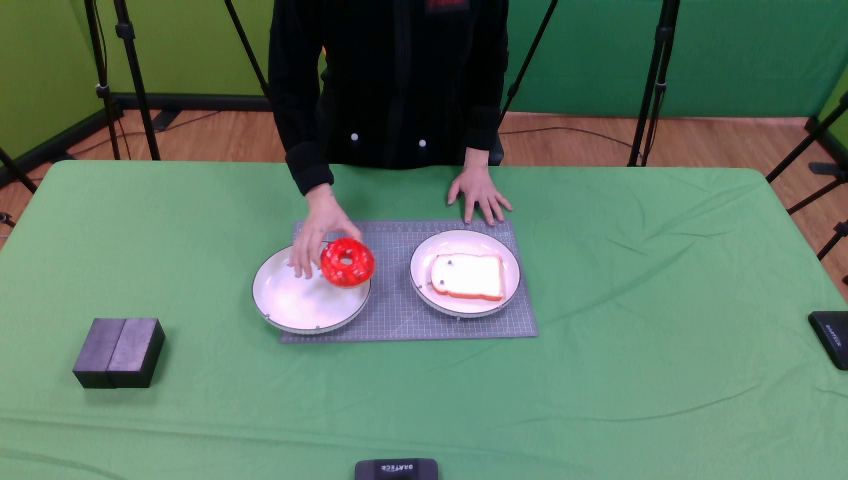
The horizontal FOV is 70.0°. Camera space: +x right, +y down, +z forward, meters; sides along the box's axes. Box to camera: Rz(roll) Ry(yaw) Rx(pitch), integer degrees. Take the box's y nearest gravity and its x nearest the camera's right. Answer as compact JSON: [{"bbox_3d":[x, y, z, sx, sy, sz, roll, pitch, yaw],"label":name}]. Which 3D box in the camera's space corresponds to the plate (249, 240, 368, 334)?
[{"bbox_3d":[-0.204,0.087,1.084,0.208,0.039,0.206,2,46,-2],"label":"plate"}]

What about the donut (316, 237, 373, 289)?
[{"bbox_3d":[-0.137,0.040,1.043,0.099,0.048,0.098,6,55,-9],"label":"donut"}]

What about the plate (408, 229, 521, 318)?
[{"bbox_3d":[0.074,0.063,1.127,0.209,0.038,0.208,2,46,-2],"label":"plate"}]

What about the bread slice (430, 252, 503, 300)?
[{"bbox_3d":[0.078,0.067,1.125,0.134,0.018,0.106,0,45,-3],"label":"bread slice"}]
